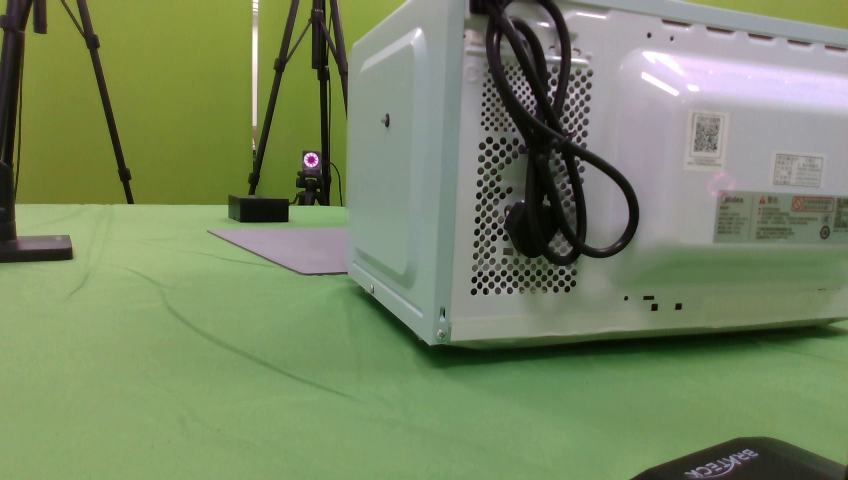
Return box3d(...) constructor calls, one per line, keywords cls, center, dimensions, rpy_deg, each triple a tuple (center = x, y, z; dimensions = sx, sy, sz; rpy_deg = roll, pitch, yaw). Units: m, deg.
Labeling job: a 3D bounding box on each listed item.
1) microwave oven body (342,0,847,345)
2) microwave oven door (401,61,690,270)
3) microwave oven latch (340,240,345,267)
box3d(cls="microwave oven body", center=(0.169, -0.059, 0.573), dimensions=(0.444, 0.260, 0.324), rpy_deg=(1, 7, -20))
box3d(cls="microwave oven door", center=(0.153, -0.088, 0.757), dimensions=(0.357, 0.243, 0.039), rpy_deg=(1, 8, -8))
box3d(cls="microwave oven latch", center=(-0.052, 0.016, 0.662), dimensions=(0.079, 0.029, 0.030), rpy_deg=(1, 7, -18))
